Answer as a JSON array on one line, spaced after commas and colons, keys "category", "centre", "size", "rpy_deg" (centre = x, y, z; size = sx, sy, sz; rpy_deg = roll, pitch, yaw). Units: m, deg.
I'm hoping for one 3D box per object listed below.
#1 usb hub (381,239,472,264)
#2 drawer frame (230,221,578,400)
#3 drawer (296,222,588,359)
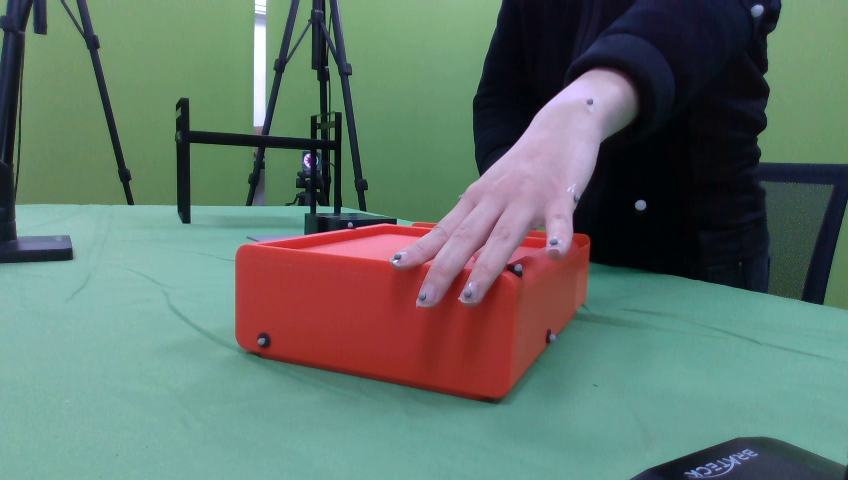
[{"category": "usb hub", "centre": [0.005, 0.015, 0.852], "size": [0.126, 0.025, 0.049], "rpy_deg": [-3, 9, -36]}, {"category": "drawer frame", "centre": [0.000, 0.037, 0.474], "size": [0.201, 0.082, 0.214], "rpy_deg": [5, 9, 22]}, {"category": "drawer", "centre": [0.027, 0.033, 0.535], "size": [0.194, 0.073, 0.212], "rpy_deg": [6, 9, 25]}]
